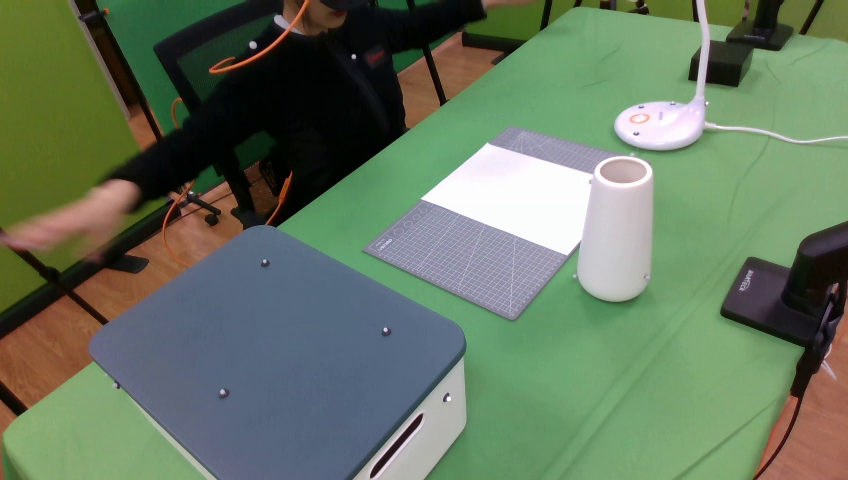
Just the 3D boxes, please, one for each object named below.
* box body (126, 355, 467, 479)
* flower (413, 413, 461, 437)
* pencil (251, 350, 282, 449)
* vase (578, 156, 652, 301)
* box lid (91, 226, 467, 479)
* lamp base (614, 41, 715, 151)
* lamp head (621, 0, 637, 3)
[{"bbox_3d":[-0.155,0.169,0.707,0.361,0.161,0.255,23,49,33],"label":"box body"},{"bbox_3d":[-0.120,0.202,0.774,0.359,0.038,0.044,3,78,24],"label":"flower"},{"bbox_3d":[-0.212,0.203,0.798,0.012,0.012,0.192,-22,35,-14],"label":"pencil"},{"bbox_3d":[0.261,-0.011,0.812,0.098,0.201,0.097,-4,40,4],"label":"vase"},{"bbox_3d":[-0.167,0.110,0.661,0.368,0.015,0.264,24,50,33],"label":"box lid"},{"bbox_3d":[0.449,-0.277,1.106,0.179,0.181,0.160,1,41,9],"label":"lamp base"},{"bbox_3d":[0.319,-0.453,0.962,0.113,0.123,0.112,20,33,-13],"label":"lamp head"}]
